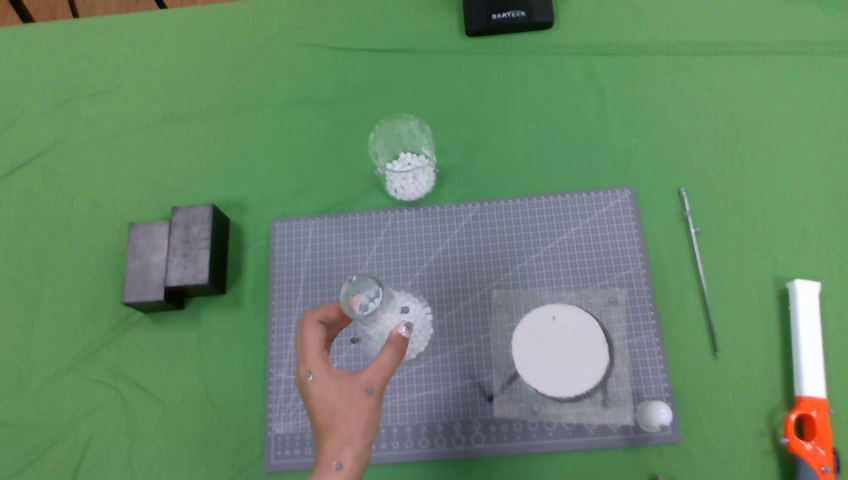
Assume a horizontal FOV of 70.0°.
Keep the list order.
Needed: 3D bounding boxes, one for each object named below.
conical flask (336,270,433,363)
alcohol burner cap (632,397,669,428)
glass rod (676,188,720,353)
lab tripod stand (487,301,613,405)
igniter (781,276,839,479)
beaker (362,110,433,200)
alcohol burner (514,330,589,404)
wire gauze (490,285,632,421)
[{"bbox_3d":[-0.038,0.061,0.518,0.075,0.123,0.075,-3,71,10],"label":"conical flask"},{"bbox_3d":[0.240,0.180,0.635,0.034,0.048,0.033,-1,71,5],"label":"alcohol burner cap"},{"bbox_3d":[0.315,0.031,0.698,0.008,0.008,0.198,-6,71,2],"label":"glass rod"},{"bbox_3d":[0.130,0.123,0.614,0.148,0.132,0.147,-1,73,5],"label":"lab tripod stand"},{"bbox_3d":[0.402,0.173,0.636,0.057,0.025,0.275,9,72,-4],"label":"igniter"},{"bbox_3d":[-0.024,-0.095,0.719,0.083,0.101,0.074,30,77,13],"label":"beaker"},{"bbox_3d":[0.132,0.127,0.623,0.078,0.120,0.077,-2,71,6],"label":"alcohol burner"},{"bbox_3d":[0.122,0.101,0.551,0.125,0.011,0.121,0,73,6],"label":"wire gauze"}]
